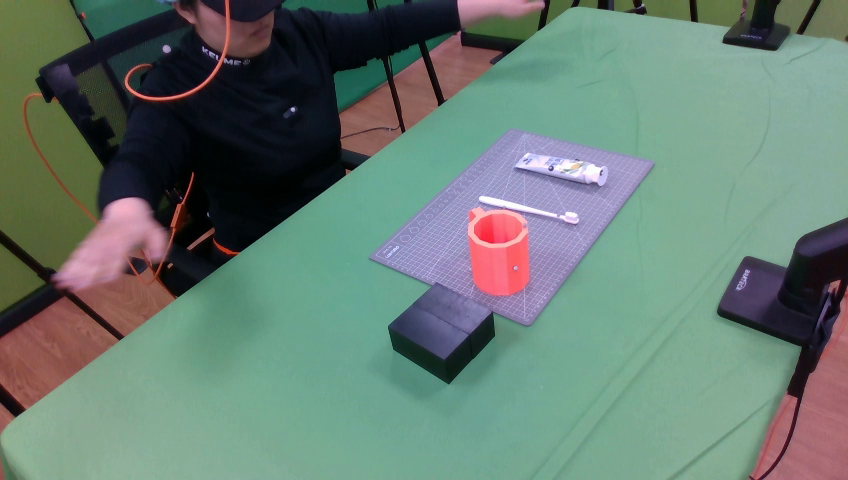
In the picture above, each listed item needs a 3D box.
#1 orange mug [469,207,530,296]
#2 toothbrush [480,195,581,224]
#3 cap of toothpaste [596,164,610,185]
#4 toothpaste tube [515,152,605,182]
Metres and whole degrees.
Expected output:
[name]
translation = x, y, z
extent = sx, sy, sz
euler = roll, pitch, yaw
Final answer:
[orange mug]
translation = 0.104, 0.008, 0.894
extent = 0.084, 0.101, 0.125
euler = -22, 46, -14
[toothbrush]
translation = 0.175, -0.054, 1.016
extent = 0.180, 0.017, 0.014
euler = 15, 59, 29
[cap of toothpaste]
translation = 0.307, -0.113, 1.041
extent = 0.011, 0.037, 0.037
euler = 20, 48, 39
[toothpaste tube]
translation = 0.248, -0.133, 1.087
extent = 0.164, 0.034, 0.055
euler = 17, 42, 34
